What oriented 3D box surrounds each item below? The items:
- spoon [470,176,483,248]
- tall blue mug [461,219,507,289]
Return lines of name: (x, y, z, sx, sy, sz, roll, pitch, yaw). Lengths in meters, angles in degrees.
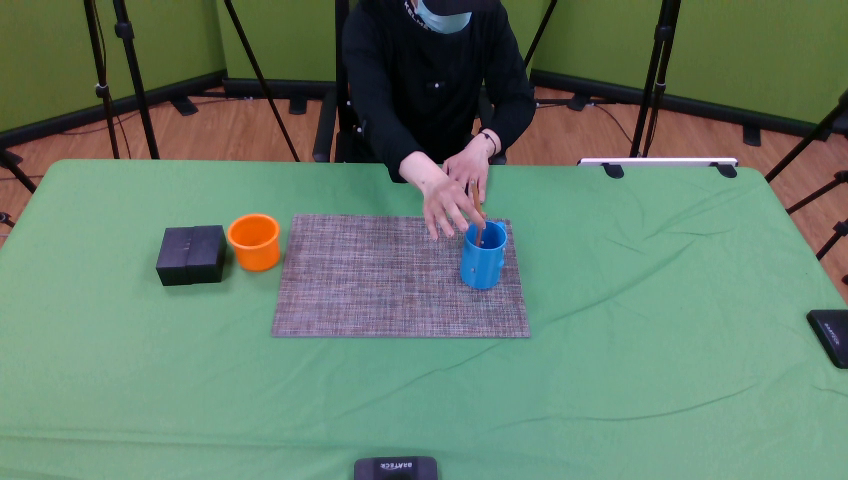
spoon: (0.096, -0.028, 1.062, 0.021, 0.195, 0.041, 7, 38, 17)
tall blue mug: (0.111, 0.016, 1.122, 0.078, 0.108, 0.106, 6, 46, 4)
